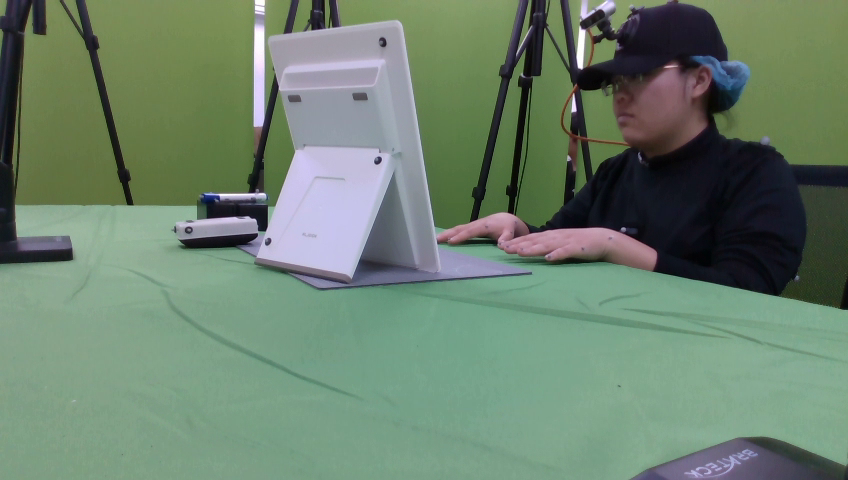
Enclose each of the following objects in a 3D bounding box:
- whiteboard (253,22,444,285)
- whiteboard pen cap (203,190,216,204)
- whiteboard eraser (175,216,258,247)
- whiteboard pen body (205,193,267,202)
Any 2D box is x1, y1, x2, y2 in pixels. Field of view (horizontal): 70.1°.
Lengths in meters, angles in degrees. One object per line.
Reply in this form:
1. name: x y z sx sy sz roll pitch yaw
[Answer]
1. whiteboard: -0.125 -0.081 0.715 0.216 0.305 0.144 9 29 36
2. whiteboard pen cap: -0.388 -0.077 1.093 0.018 0.018 0.033 2 25 -7
3. whiteboard eraser: -0.313 -0.013 0.915 0.113 0.042 0.055 -5 12 -30
4. whiteboard pen body: -0.354 -0.081 1.147 0.017 0.017 0.141 8 9 33
